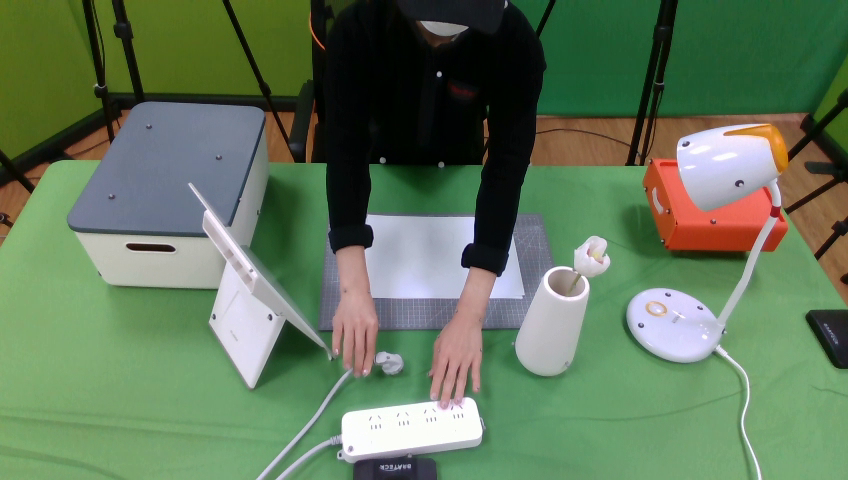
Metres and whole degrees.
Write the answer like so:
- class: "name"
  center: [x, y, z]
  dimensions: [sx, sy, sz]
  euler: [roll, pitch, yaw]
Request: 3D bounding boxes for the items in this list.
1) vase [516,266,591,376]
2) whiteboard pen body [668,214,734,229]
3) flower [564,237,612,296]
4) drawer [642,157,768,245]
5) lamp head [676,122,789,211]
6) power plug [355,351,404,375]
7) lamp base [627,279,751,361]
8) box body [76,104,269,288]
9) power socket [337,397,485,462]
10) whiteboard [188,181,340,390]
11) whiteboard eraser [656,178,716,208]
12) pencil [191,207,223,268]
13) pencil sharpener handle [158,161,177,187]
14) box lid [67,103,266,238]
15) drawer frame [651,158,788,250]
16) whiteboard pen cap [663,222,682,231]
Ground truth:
- class: "vase"
  center: [0.208, 0.132, 0.964]
  dimensions: [0.098, 0.201, 0.097]
  euler: [3, 46, -3]
- class: "whiteboard pen body"
  center: [0.547, -0.035, 1.200]
  dimensions: [0.141, 0.017, 0.017]
  euler: [-8, 48, -9]
- class: "flower"
  center: [0.206, 0.088, 0.892]
  dimensions: [0.038, 0.363, 0.044]
  euler: [-16, 67, -9]
- class: "drawer"
  center: [0.564, -0.075, 1.210]
  dimensions: [0.212, 0.073, 0.193]
  euler: [3, 45, -1]
- class: "lamp head"
  center: [0.423, -0.104, 0.819]
  dimensions: [0.122, 0.113, 0.112]
  euler: [-13, 33, 40]
- class: "power plug"
  center: [-0.068, 0.201, 0.989]
  dimensions: [0.072, 0.053, 0.035]
  euler: [-2, 48, 23]
- class: "lamp base"
  center: [0.459, 0.100, 1.027]
  dimensions: [0.178, 0.181, 0.160]
  euler: [27, 51, 17]
- class: "box body"
  center: [-0.450, -0.087, 1.149]
  dimensions: [0.254, 0.161, 0.361]
  euler: [2, 46, -2]
- class: "power socket"
  center: [-0.018, 0.285, 0.915]
  dimensions: [0.227, 0.033, 0.071]
  euler: [-4, 46, -8]
- class: "whiteboard"
  center: [-0.292, 0.096, 0.929]
  dimensions: [0.144, 0.307, 0.216]
  euler: [-38, 57, -10]
- class: "whiteboard eraser"
  center: [0.538, -0.095, 1.250]
  dimensions: [0.113, 0.042, 0.055]
  euler: [4, 52, -10]
- class: "pencil"
  center: [-0.420, -0.009, 1.185]
  dimensions: [0.012, 0.012, 0.193]
  euler: [3, 37, -1]
- class: "pencil sharpener handle"
  center: [-0.508, -0.139, 1.208]
  dimensions: [0.036, 0.068, 0.030]
  euler: [10, 44, -13]
- class: "box lid"
  center: [-0.447, -0.137, 1.093]
  dimensions: [0.263, 0.015, 0.369]
  euler: [2, 45, -2]
- class: "drawer frame"
  center: [0.571, -0.074, 1.213]
  dimensions: [0.214, 0.083, 0.200]
  euler: [1, 46, 0]
- class: "whiteboard pen cap"
  center: [0.488, -0.027, 1.188]
  dimensions: [0.033, 0.018, 0.018]
  euler: [0, 46, -13]
